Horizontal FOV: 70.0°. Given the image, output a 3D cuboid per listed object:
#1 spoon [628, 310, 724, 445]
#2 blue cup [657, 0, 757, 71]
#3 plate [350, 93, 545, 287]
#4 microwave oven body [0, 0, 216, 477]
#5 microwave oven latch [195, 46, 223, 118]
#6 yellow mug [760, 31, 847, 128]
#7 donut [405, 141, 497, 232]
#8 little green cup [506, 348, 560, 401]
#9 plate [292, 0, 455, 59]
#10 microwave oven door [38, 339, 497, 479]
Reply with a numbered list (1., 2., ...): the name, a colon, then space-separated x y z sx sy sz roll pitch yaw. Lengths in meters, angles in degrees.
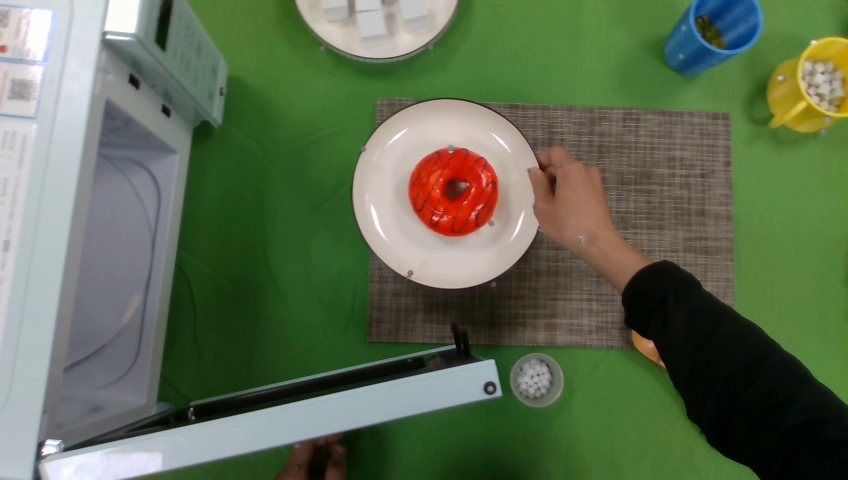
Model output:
1. spoon: 0.303 0.167 0.725 0.041 0.021 0.193 -34 88 -21
2. blue cup: 0.332 -0.252 0.733 0.093 0.100 0.092 0 85 -3
3. plate: 0.024 -0.053 0.658 0.209 0.038 0.208 0 86 -2
4. microwave oven body: -0.414 -0.035 0.590 0.326 0.260 0.440 5 84 -3
5. microwave oven latch: -0.256 -0.186 0.710 0.030 0.029 0.079 7 84 -2
6. yellow mug: 0.473 -0.188 0.751 0.131 0.064 0.100 -40 87 -5
7. donut: 0.029 -0.057 0.648 0.099 0.048 0.099 0 87 -1
8. little green cup: 0.125 0.157 0.712 0.061 0.039 0.061 0 81 -2
9. plate: -0.062 -0.321 0.752 0.208 0.039 0.207 0 84 -3
10. microwave oven door: -0.120 0.154 0.580 0.356 0.244 0.039 -12 84 -4
